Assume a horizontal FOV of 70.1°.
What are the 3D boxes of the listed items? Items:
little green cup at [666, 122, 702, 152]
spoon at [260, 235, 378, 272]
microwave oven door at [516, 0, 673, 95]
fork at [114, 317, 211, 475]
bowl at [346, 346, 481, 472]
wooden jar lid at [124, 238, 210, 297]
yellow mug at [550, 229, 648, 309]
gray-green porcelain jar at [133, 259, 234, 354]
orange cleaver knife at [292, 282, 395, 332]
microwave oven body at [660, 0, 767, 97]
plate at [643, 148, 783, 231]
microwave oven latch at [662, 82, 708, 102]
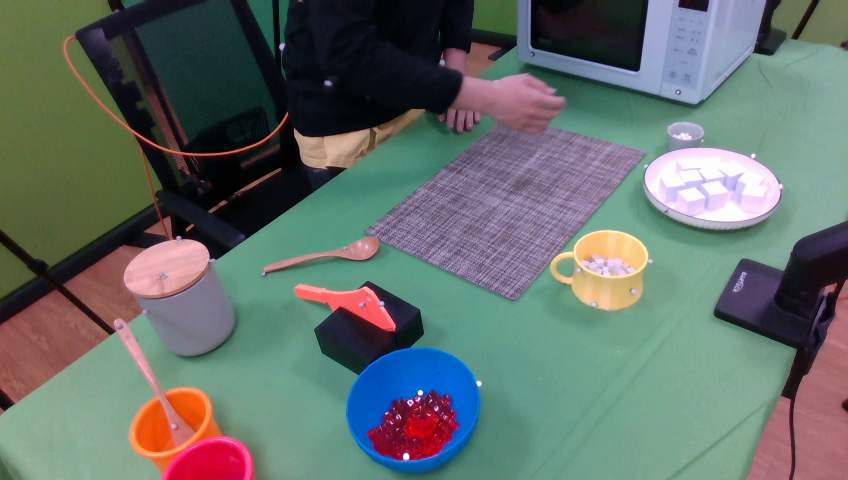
[{"bbox_3d":[0.471,-0.184,1.102,0.061,0.039,0.061,-5,41,5],"label":"little green cup"},{"bbox_3d":[-0.168,0.024,0.966,0.194,0.022,0.041,-10,58,-3],"label":"spoon"},{"bbox_3d":[0.344,-0.458,1.257,0.353,0.245,0.039,26,51,33],"label":"microwave oven door"},{"bbox_3d":[-0.309,0.180,0.708,0.028,0.018,0.207,-29,89,-26],"label":"fork"},{"bbox_3d":[-0.008,0.205,0.690,0.151,0.077,0.150,-4,40,4],"label":"bowl"},{"bbox_3d":[-0.335,0.039,0.794,0.108,0.021,0.108,-2,40,2],"label":"wooden jar lid"},{"bbox_3d":[0.245,0.040,0.857,0.130,0.064,0.099,1,42,11],"label":"yellow mug"},{"bbox_3d":[-0.328,0.087,0.836,0.106,0.127,0.105,-4,41,4],"label":"gray-green porcelain jar"},{"bbox_3d":[-0.116,0.091,0.835,0.209,0.077,0.012,2,32,48],"label":"orange cleaver knife"},{"bbox_3d":[0.473,-0.516,1.313,0.438,0.261,0.327,26,51,34],"label":"microwave oven body"},{"bbox_3d":[0.464,-0.080,0.986,0.207,0.039,0.206,-4,41,4],"label":"plate"},{"bbox_3d":[0.518,-0.298,1.202,0.078,0.029,0.030,28,53,35],"label":"microwave oven latch"}]
